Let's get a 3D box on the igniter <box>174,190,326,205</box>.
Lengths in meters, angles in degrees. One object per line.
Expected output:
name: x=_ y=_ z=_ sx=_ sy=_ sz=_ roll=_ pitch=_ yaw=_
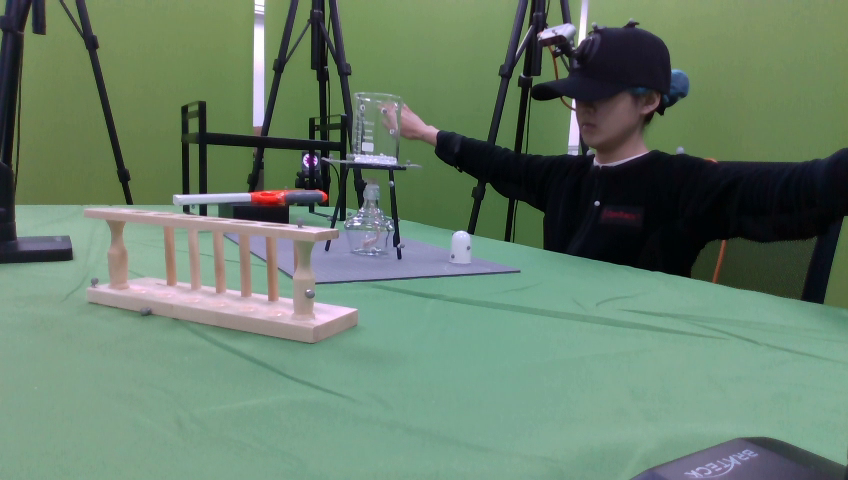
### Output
igniter: x=-0.317 y=-0.079 z=1.132 sx=0.278 sy=0.025 sz=0.057 roll=-4 pitch=12 yaw=-32

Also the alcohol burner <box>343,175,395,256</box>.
alcohol burner: x=-0.079 y=-0.036 z=0.890 sx=0.078 sy=0.119 sz=0.078 roll=5 pitch=7 yaw=0

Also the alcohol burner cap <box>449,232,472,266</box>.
alcohol burner cap: x=0.052 y=0.012 z=0.843 sx=0.034 sy=0.048 sz=0.034 roll=2 pitch=6 yaw=0

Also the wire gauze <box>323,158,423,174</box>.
wire gauze: x=-0.079 y=-0.111 z=0.893 sx=0.122 sy=0.011 sz=0.124 roll=4 pitch=3 yaw=-24

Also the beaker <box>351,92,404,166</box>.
beaker: x=-0.068 y=-0.159 z=0.886 sx=0.084 sy=0.100 sz=0.073 roll=0 pitch=8 yaw=-39

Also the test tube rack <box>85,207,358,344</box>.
test tube rack: x=-0.177 y=0.022 z=0.518 sx=0.241 sy=0.085 sz=0.067 roll=6 pitch=7 yaw=23

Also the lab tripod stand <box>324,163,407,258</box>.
lab tripod stand: x=-0.073 y=-0.047 z=0.900 sx=0.148 sy=0.131 sz=0.148 roll=2 pitch=5 yaw=0
